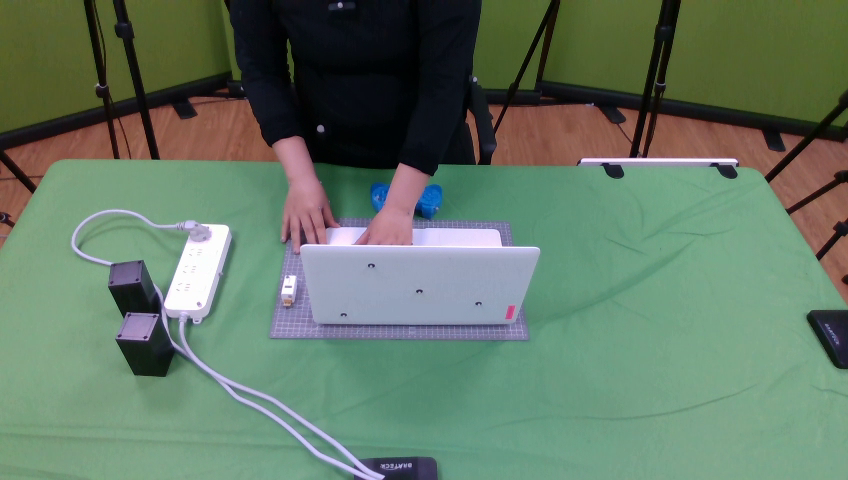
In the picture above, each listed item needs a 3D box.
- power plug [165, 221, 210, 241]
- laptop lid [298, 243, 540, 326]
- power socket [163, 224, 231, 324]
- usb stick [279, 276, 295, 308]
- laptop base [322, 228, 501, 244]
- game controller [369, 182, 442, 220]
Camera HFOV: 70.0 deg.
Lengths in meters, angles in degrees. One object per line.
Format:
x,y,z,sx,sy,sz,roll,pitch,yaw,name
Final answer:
-0.441,-0.015,1.143,0.072,0.053,0.035,7,46,9,power plug
-0.010,0.077,0.957,0.357,0.243,0.013,1,53,-5,laptop lid
-0.411,0.052,1.106,0.072,0.033,0.225,3,46,-3,power socket
-0.245,0.093,1.079,0.021,0.027,0.059,2,48,-3,usb stick
-0.020,0.064,1.136,0.355,0.023,0.234,1,42,-4,laptop base
-0.039,-0.091,1.267,0.155,0.052,0.096,1,50,-2,game controller
